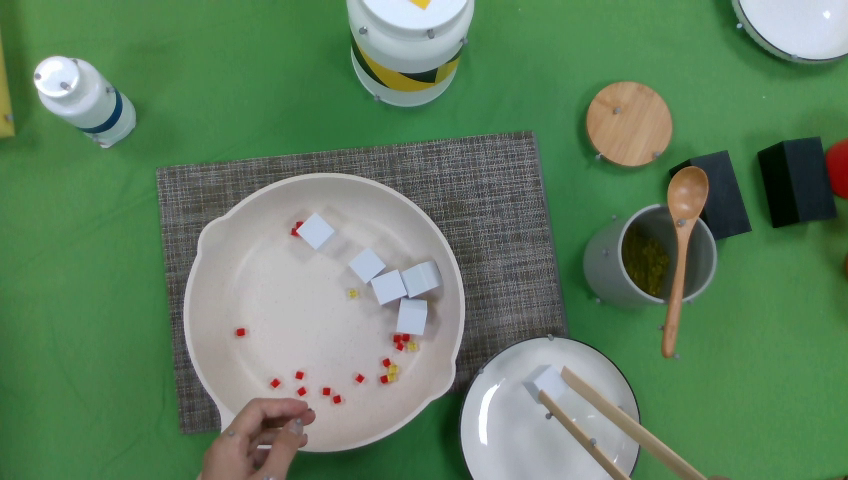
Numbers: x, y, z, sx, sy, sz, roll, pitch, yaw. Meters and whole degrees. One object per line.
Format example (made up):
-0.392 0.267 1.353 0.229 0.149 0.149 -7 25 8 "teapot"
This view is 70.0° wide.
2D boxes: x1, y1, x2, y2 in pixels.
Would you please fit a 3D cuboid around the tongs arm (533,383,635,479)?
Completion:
0.250 0.260 0.550 0.051 0.027 0.381 -28 54 -26 "tongs arm"

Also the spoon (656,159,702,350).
0.252 0.015 0.612 0.042 0.021 0.193 9 86 -8 "spoon"

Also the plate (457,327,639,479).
0.139 0.203 0.694 0.208 0.039 0.207 1 85 -6 "plate"

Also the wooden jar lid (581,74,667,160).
0.247 -0.151 0.755 0.108 0.021 0.108 1 85 -5 "wooden jar lid"

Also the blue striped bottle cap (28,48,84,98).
-0.361 -0.164 0.594 0.044 0.020 0.044 1 85 -5 "blue striped bottle cap"

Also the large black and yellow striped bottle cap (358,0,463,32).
-0.013 -0.256 0.574 0.115 0.019 0.114 1 85 -5 "large black and yellow striped bottle cap"

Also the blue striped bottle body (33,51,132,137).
-0.365 -0.157 0.644 0.063 0.121 0.063 1 83 -5 "blue striped bottle body"

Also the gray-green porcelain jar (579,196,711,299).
0.239 0.014 0.682 0.106 0.126 0.105 1 83 -5 "gray-green porcelain jar"

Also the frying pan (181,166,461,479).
-0.162 0.151 0.635 0.307 0.103 0.486 34 73 0 "frying pan"

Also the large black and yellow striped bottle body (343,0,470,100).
-0.021 -0.244 0.657 0.131 0.184 0.130 1 83 -5 "large black and yellow striped bottle body"

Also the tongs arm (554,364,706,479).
0.268 0.249 0.561 0.028 0.028 0.384 -29 54 -31 "tongs arm"

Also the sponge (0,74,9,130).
-0.548 -0.218 0.663 0.118 0.061 0.206 -12 86 -7 "sponge"

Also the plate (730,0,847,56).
0.488 -0.336 0.788 0.209 0.038 0.208 1 83 -5 "plate"
